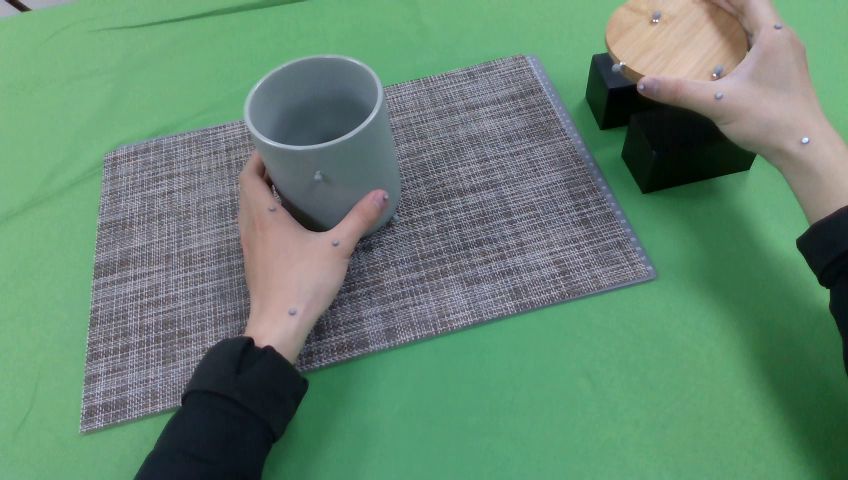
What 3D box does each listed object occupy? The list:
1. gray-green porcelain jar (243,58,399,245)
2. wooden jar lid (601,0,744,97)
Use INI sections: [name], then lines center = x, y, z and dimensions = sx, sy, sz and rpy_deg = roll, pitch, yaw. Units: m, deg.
[gray-green porcelain jar]
center = -0.077, -0.066, 0.501
dimensions = 0.106, 0.128, 0.105
rpy_deg = -3, 53, 4
[wooden jar lid]
center = 0.197, -0.154, 0.485
dimensions = 0.108, 0.021, 0.107
rpy_deg = -2, 59, 3
